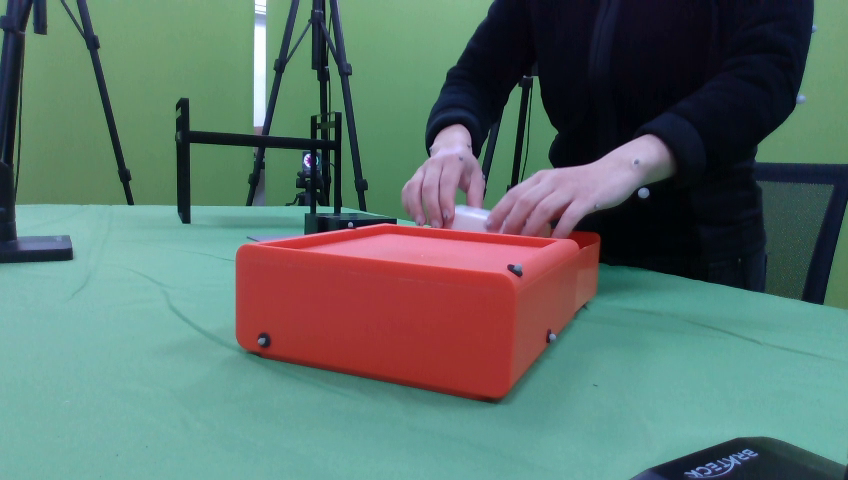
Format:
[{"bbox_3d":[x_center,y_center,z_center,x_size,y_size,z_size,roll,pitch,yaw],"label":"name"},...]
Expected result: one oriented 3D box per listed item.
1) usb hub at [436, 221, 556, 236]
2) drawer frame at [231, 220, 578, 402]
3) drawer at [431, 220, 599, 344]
[{"bbox_3d":[0.071,-0.003,0.629,0.050,0.025,0.124,6,0,-44],"label":"usb hub"},{"bbox_3d":[0.001,0.038,0.474,0.201,0.082,0.214,6,9,22],"label":"drawer frame"},{"bbox_3d":[0.051,0.031,0.582,0.194,0.073,0.212,7,10,24],"label":"drawer"}]
